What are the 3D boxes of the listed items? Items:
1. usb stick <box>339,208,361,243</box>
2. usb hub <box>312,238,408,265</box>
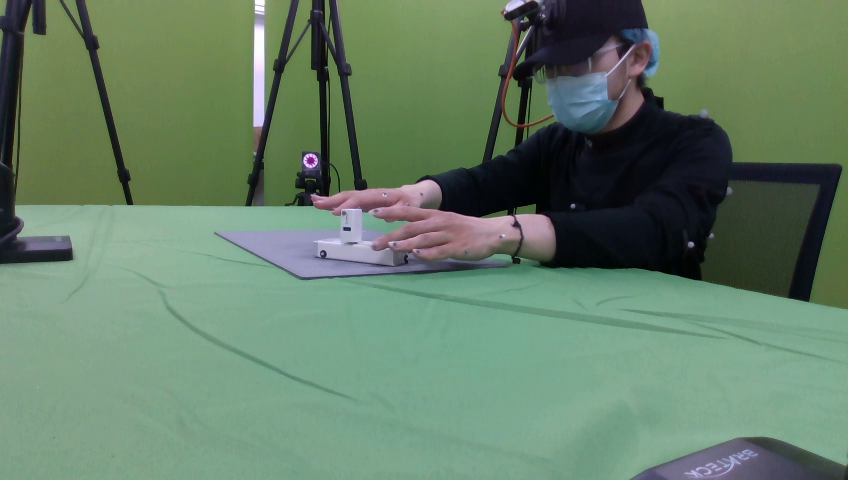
[{"bbox_3d":[-0.099,-0.013,0.815,0.021,0.059,0.027,5,10,21],"label":"usb stick"},{"bbox_3d":[-0.088,0.015,0.829,0.125,0.025,0.050,5,8,22],"label":"usb hub"}]
